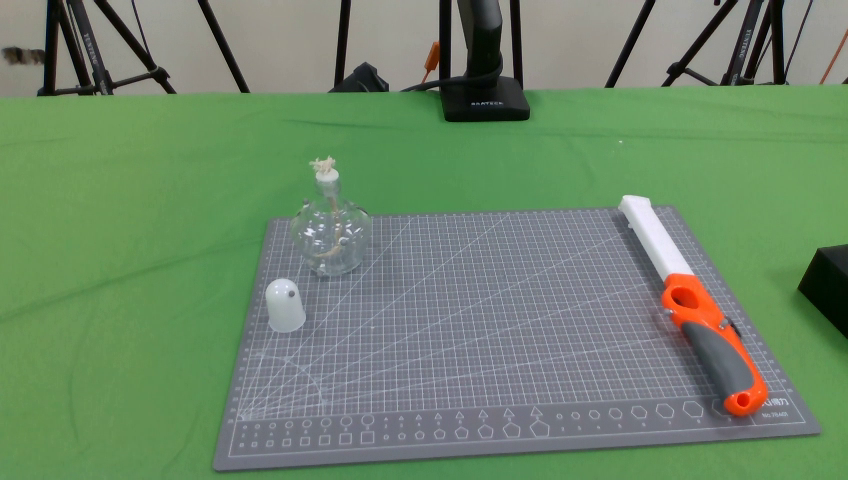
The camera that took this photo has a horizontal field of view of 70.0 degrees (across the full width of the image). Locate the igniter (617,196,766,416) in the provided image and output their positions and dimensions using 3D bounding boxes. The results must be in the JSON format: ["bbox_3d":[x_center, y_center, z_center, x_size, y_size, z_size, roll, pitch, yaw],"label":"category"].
[{"bbox_3d":[0.236,0.044,0.557,0.057,0.025,0.273,6,38,-10],"label":"igniter"}]

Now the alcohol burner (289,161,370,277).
[{"bbox_3d":[-0.089,-0.024,0.566,0.078,0.120,0.077,2,40,-1],"label":"alcohol burner"}]

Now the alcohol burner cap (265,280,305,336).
[{"bbox_3d":[-0.121,0.055,0.524,0.034,0.048,0.033,1,39,-1],"label":"alcohol burner cap"}]
